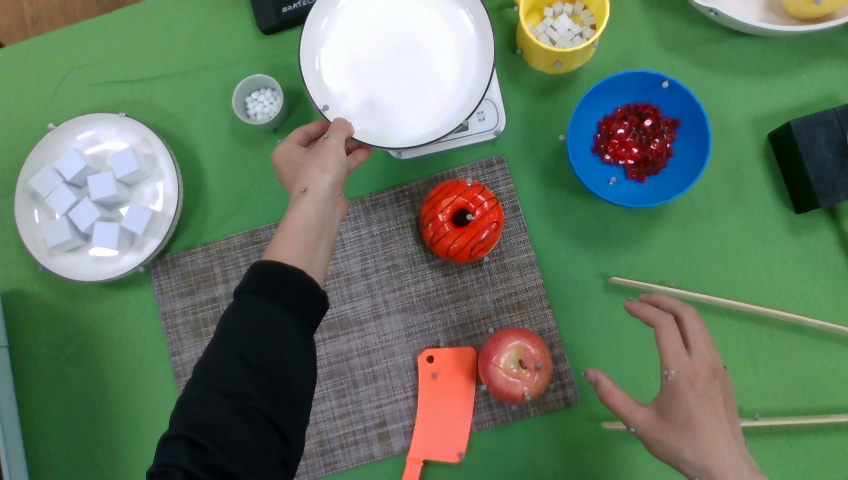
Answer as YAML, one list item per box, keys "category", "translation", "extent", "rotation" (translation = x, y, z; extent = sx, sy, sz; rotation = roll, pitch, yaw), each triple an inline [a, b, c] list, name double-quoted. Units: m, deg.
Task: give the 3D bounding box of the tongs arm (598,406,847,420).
- category: "tongs arm"
  translation: [0.386, 0.170, 0.662]
  extent: [0.385, 0.026, 0.050]
  rotation: [-1, 82, 4]

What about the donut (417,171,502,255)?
- category: "donut"
  translation: [0.040, -0.031, 0.698]
  extent: [0.099, 0.048, 0.099]
  rotation: [0, 85, 6]

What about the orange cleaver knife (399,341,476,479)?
- category: "orange cleaver knife"
  translation: [0.011, 0.214, 0.687]
  extent: [0.077, 0.012, 0.211]
  rotation: [13, 83, -1]

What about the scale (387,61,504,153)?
- category: "scale"
  translation: [0.006, -0.215, 0.728]
  extent: [0.148, 0.031, 0.200]
  rotation: [-12, 84, 3]

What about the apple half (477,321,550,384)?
- category: "apple half"
  translation: [0.104, 0.117, 0.664]
  extent: [0.080, 0.075, 0.053]
  rotation: [26, 83, 10]

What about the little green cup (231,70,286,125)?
- category: "little green cup"
  translation: [-0.198, -0.170, 0.734]
  extent: [0.061, 0.039, 0.061]
  rotation: [0, 83, 4]

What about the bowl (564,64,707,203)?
- category: "bowl"
  translation: [0.227, -0.110, 0.680]
  extent: [0.151, 0.077, 0.151]
  rotation: [0, 85, 4]

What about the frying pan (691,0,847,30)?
- category: "frying pan"
  translation: [0.471, -0.301, 0.668]
  extent: [0.307, 0.103, 0.485]
  rotation: [-43, 75, 0]

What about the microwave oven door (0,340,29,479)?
- category: "microwave oven door"
  translation: [-0.482, 0.279, 0.589]
  extent: [0.039, 0.244, 0.354]
  rotation: [-14, 83, 2]

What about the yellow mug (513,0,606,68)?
- category: "yellow mug"
  translation: [0.143, -0.270, 0.707]
  extent: [0.130, 0.064, 0.100]
  rotation: [41, 89, 8]

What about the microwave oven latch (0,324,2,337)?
- category: "microwave oven latch"
  translation: [-0.523, 0.079, 0.714]
  extent: [0.030, 0.029, 0.079]
  rotation: [-12, 84, 2]

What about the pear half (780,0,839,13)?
- category: "pear half"
  translation: [0.434, -0.288, 0.662]
  extent: [0.076, 0.110, 0.056]
  rotation: [20, 86, 10]

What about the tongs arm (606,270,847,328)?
- category: "tongs arm"
  translation: [0.394, 0.085, 0.670]
  extent: [0.387, 0.028, 0.028]
  rotation: [14, 79, 5]

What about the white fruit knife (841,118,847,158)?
- category: "white fruit knife"
  translation: [0.477, -0.031, 0.654]
  extent: [0.016, 0.027, 0.208]
  rotation: [-19, 98, 3]

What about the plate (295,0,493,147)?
- category: "plate"
  translation: [-0.031, -0.200, 0.647]
  extent: [0.209, 0.038, 0.208]
  rotation: [0, 86, 3]

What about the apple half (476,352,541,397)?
- category: "apple half"
  translation: [0.087, 0.151, 0.661]
  extent: [0.081, 0.081, 0.032]
  rotation: [26, 82, 7]

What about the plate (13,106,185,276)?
- category: "plate"
  translation: [-0.388, -0.058, 0.737]
  extent: [0.207, 0.039, 0.207]
  rotation: [0, 84, 4]
